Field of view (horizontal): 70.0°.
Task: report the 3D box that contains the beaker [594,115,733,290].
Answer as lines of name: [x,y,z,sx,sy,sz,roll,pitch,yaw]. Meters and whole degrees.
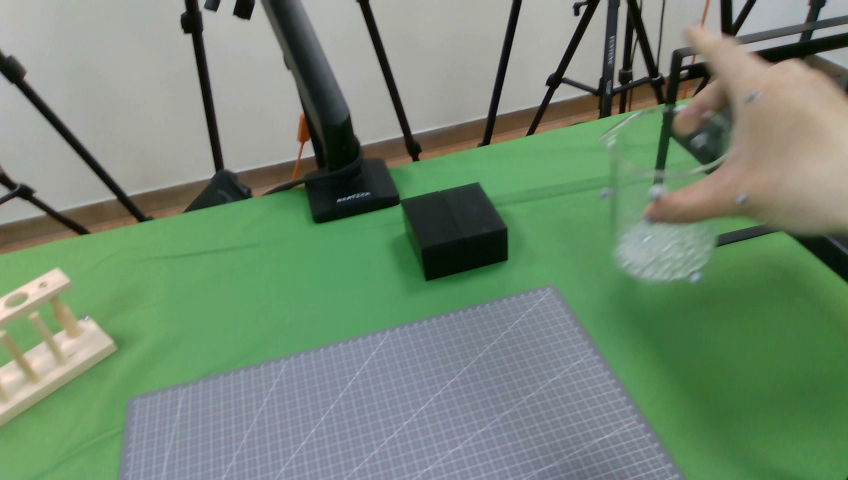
beaker: [0.158,-0.022,0.412,0.083,0.101,0.073,14,49,31]

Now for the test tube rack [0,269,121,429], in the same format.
test tube rack: [-0.434,0.136,0.578,0.066,0.086,0.242,27,49,35]
